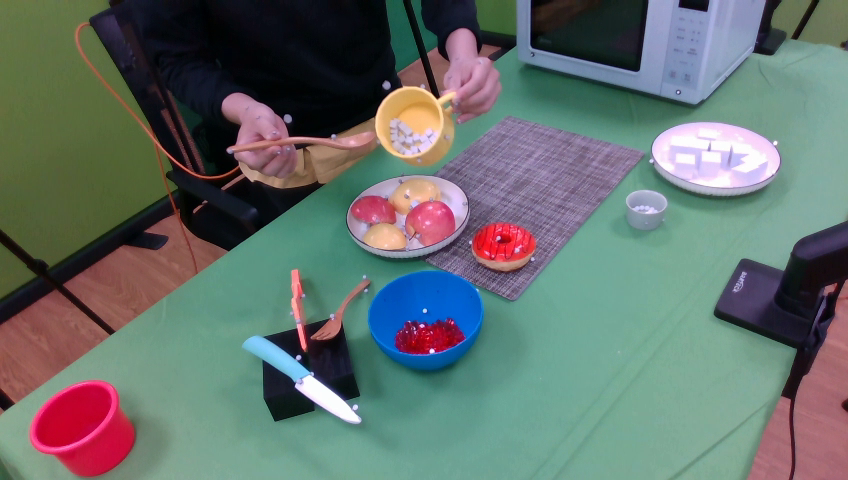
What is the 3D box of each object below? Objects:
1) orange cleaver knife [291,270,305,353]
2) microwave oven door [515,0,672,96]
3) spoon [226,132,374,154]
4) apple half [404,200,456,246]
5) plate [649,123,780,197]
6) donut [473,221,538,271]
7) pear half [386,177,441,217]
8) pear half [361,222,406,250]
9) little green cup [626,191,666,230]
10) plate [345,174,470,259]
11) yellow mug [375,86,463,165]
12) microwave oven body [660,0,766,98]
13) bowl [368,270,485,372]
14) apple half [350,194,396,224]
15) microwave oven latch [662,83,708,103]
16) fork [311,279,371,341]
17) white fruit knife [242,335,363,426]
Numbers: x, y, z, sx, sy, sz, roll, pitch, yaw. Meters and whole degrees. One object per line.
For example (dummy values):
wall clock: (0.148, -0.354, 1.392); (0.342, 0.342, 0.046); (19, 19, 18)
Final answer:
orange cleaver knife: (-0.175, 0.094, 0.844); (0.012, 0.077, 0.210); (-11, 14, -10)
microwave oven door: (0.343, -0.455, 1.259); (0.353, 0.245, 0.039); (26, 51, 33)
spoon: (-0.160, -0.129, 0.799); (0.195, 0.022, 0.041); (-5, 32, -20)
apple half: (0.010, -0.035, 0.969); (0.075, 0.053, 0.080); (-27, 40, -23)
plate: (0.497, -0.134, 1.046); (0.207, 0.039, 0.206); (-4, 40, 4)
donut: (0.123, 0.008, 0.923); (0.099, 0.048, 0.098); (-3, 38, 3)
pear half: (-0.029, -0.079, 1.033); (0.109, 0.056, 0.076); (-2, 35, 16)
pear half: (-0.063, -0.012, 0.959); (0.071, 0.031, 0.087); (3, 25, -26)
little green cup: (0.352, -0.046, 0.963); (0.061, 0.039, 0.061); (-4, 40, 4)
plate: (-0.026, -0.037, 1.004); (0.209, 0.038, 0.208); (-4, 40, 4)
yellow mug: (0.000, -0.170, 0.859); (0.130, 0.064, 0.099); (-35, 80, 10)
microwave oven body: (0.472, -0.513, 1.317); (0.438, 0.261, 0.327); (26, 51, 34)
bowl: (0.007, 0.118, 0.791); (0.151, 0.077, 0.150); (-5, 40, 4)
apple half: (-0.080, -0.056, 1.008); (0.081, 0.033, 0.081); (10, 24, -4)
microwave oven latch: (0.517, -0.296, 1.204); (0.078, 0.029, 0.030); (28, 52, 35)
fork: (-0.108, 0.092, 0.832); (0.028, 0.019, 0.207); (-6, 19, 15)
white fruit knife: (-0.148, 0.167, 0.730); (0.206, 0.016, 0.027); (26, 80, 31)
